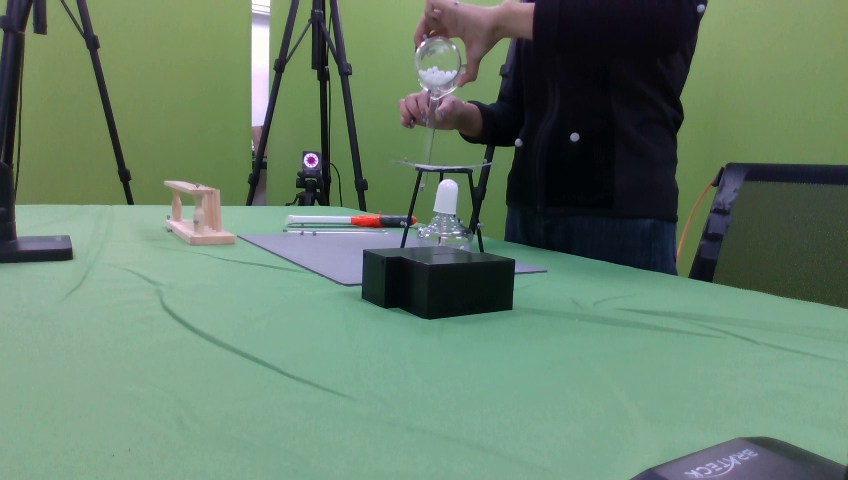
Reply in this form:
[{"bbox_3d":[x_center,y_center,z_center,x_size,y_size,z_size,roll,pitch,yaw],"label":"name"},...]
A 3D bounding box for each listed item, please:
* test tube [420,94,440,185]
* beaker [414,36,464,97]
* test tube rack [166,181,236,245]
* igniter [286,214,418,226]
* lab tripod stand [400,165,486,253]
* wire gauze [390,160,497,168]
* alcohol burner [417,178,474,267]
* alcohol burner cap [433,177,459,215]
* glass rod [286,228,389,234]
[{"bbox_3d":[0.007,-0.163,0.992,0.017,0.150,0.017,8,19,-2],"label":"test tube"},{"bbox_3d":[0.022,-0.264,0.918,0.074,0.084,0.100,10,8,2],"label":"beaker"},{"bbox_3d":[-0.383,-0.051,1.024,0.067,0.085,0.241,-2,9,-31],"label":"test tube rack"},{"bbox_3d":[-0.146,-0.043,1.263,0.278,0.025,0.057,-1,-2,-24],"label":"igniter"},{"bbox_3d":[0.027,-0.049,0.930,0.148,0.131,0.148,2,9,0],"label":"lab tripod stand"},{"bbox_3d":[0.027,-0.115,0.919,0.122,0.011,0.124,-4,10,-34],"label":"wire gauze"},{"bbox_3d":[0.029,-0.024,0.810,0.078,0.119,0.078,1,9,0],"label":"alcohol burner"},{"bbox_3d":[0.031,-0.059,0.806,0.034,0.048,0.034,9,9,-1],"label":"alcohol burner cap"},{"bbox_3d":[-0.154,-0.016,1.101,0.201,0.008,0.008,1,6,-31],"label":"glass rod"}]
